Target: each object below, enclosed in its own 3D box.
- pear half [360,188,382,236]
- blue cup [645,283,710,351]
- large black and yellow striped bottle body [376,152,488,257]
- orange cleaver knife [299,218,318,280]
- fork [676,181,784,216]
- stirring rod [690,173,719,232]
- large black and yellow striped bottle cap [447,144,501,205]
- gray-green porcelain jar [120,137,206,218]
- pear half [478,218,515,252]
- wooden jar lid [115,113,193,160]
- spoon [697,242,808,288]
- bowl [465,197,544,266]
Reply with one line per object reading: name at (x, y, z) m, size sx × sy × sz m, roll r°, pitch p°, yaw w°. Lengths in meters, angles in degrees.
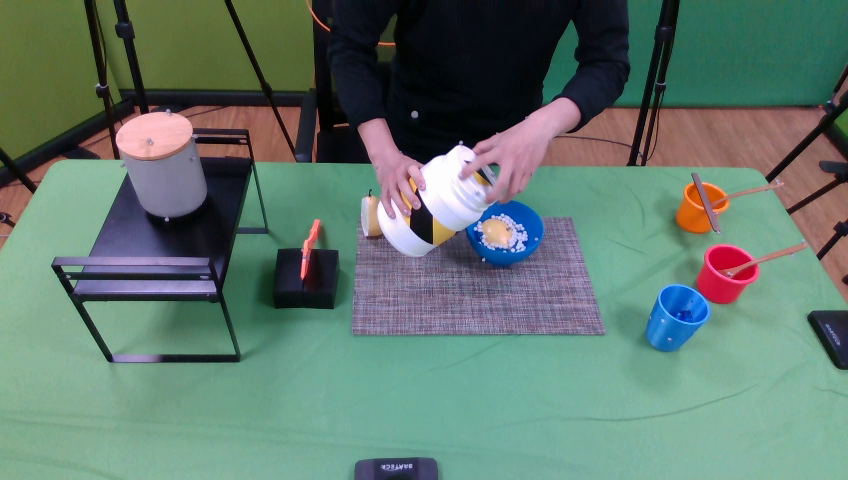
pear half at (-0.096, -0.060, 1.181) m, size 0.056 × 0.110 × 0.076 m, roll -13°, pitch 52°, yaw -17°
blue cup at (0.426, 0.139, 1.041) m, size 0.093 × 0.101 × 0.092 m, roll 3°, pitch 46°, yaw -3°
large black and yellow striped bottle body at (0.020, -0.066, 1.053) m, size 0.131 × 0.184 × 0.130 m, roll 35°, pitch 36°, yaw -31°
orange cleaver knife at (-0.214, 0.013, 1.125) m, size 0.012 × 0.077 × 0.210 m, roll 6°, pitch 17°, yaw -5°
fork at (0.618, -0.084, 1.235) m, size 0.207 × 0.019 × 0.028 m, roll -23°, pitch 21°, yaw 38°
stirring rod at (0.566, -0.080, 1.225) m, size 0.014 × 0.006 × 0.175 m, roll 3°, pitch 46°, yaw 2°
large black and yellow striped bottle cap at (0.084, -0.110, 1.010) m, size 0.115 × 0.019 × 0.114 m, roll 35°, pitch 33°, yaw -27°
gray-green porcelain jar at (-0.403, -0.106, 0.946) m, size 0.106 × 0.127 × 0.105 m, roll 3°, pitch 46°, yaw -2°
pear half at (0.144, -0.013, 1.167) m, size 0.070 × 0.031 × 0.087 m, roll -21°, pitch 55°, yaw -20°
wooden jar lid at (-0.399, -0.151, 0.900) m, size 0.108 × 0.021 × 0.107 m, roll 3°, pitch 46°, yaw -3°
spoon at (0.601, 0.045, 1.116) m, size 0.194 × 0.022 × 0.041 m, roll -29°, pitch 34°, yaw 30°
bowl at (0.149, -0.004, 1.167) m, size 0.151 × 0.077 × 0.150 m, roll 3°, pitch 46°, yaw -2°
